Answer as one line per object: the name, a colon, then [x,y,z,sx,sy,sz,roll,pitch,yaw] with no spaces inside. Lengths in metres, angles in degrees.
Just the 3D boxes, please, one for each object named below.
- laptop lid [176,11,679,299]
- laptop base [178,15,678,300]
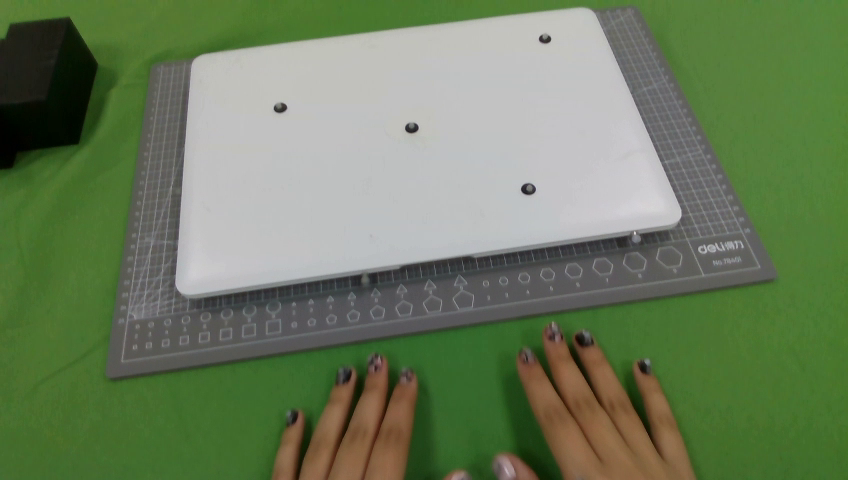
laptop lid: [-0.009,-0.082,0.470,0.357,0.013,0.239,-7,59,-2]
laptop base: [-0.009,-0.077,0.481,0.354,0.023,0.233,-8,60,-3]
